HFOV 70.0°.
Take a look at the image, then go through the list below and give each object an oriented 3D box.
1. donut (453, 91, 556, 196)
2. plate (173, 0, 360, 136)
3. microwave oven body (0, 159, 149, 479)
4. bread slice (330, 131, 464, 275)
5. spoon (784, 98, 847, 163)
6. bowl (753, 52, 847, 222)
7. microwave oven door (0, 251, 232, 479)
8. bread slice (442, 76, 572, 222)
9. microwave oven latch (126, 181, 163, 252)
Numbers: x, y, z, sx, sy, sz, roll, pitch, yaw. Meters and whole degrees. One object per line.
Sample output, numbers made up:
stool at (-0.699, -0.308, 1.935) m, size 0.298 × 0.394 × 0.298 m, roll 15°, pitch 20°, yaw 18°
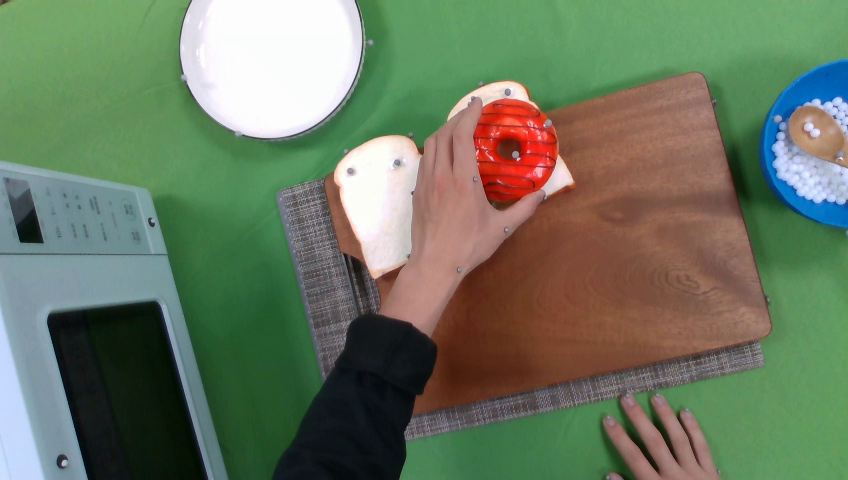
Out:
donut at (0.077, -0.092, 0.581) m, size 0.099 × 0.048 × 0.099 m, roll 0°, pitch 91°, yaw 7°
plate at (-0.169, -0.215, 0.663) m, size 0.207 × 0.039 × 0.207 m, roll 0°, pitch 90°, yaw 8°
microwave oven body at (-0.419, 0.187, 0.581) m, size 0.326 × 0.260 × 0.441 m, roll -17°, pitch 88°, yaw 7°
bread slice at (-0.037, -0.042, 0.625) m, size 0.107 × 0.018 × 0.134 m, roll -29°, pitch 85°, yaw 6°
spoon at (0.399, -0.054, 0.534) m, size 0.041 × 0.022 × 0.192 m, roll -40°, pitch 67°, yaw 10°
bowl at (0.378, -0.090, 0.568) m, size 0.151 × 0.077 × 0.151 m, roll 0°, pitch 90°, yaw 8°
microwave oven door at (-0.269, 0.185, 0.556) m, size 0.039 × 0.244 × 0.355 m, roll -17°, pitch 87°, yaw 8°
bread slice at (0.075, -0.097, 0.612) m, size 0.105 × 0.019 × 0.131 m, roll -25°, pitch 88°, yaw 6°
microwave oven latch at (-0.315, -0.024, 0.665) m, size 0.030 × 0.029 × 0.079 m, roll -16°, pitch 88°, yaw 7°
